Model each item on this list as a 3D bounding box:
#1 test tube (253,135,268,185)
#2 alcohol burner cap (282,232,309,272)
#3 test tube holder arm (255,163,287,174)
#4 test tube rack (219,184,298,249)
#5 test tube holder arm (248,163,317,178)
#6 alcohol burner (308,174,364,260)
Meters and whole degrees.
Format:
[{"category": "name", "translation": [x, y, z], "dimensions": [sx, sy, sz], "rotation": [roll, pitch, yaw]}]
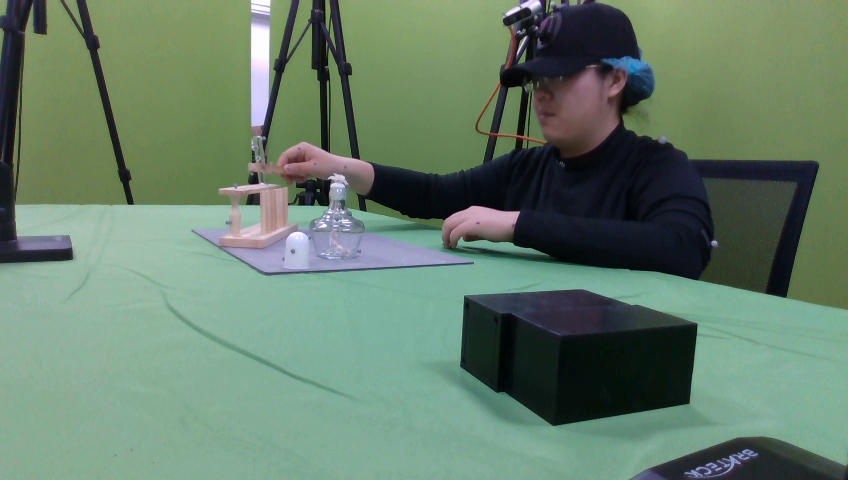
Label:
[{"category": "test tube", "translation": [-0.284, -0.109, 1.067], "dimensions": [0.017, 0.150, 0.017], "rotation": [-5, 8, 1]}, {"category": "alcohol burner cap", "translation": [-0.157, 0.014, 0.740], "dimensions": [0.034, 0.048, 0.034], "rotation": [2, 6, 0]}, {"category": "test tube holder arm", "translation": [-0.273, -0.128, 1.084], "dimensions": [0.010, 0.015, 0.088], "rotation": [0, 1, 20]}, {"category": "test tube rack", "translation": [-0.266, -0.046, 1.001], "dimensions": [0.067, 0.085, 0.242], "rotation": [3, 7, 0]}, {"category": "test tube holder arm", "translation": [-0.259, -0.129, 1.127], "dimensions": [0.013, 0.015, 0.179], "rotation": [1, 2, 27]}, {"category": "alcohol burner", "translation": [-0.121, -0.033, 0.841], "dimensions": [0.078, 0.119, 0.078], "rotation": [3, 5, 0]}]
